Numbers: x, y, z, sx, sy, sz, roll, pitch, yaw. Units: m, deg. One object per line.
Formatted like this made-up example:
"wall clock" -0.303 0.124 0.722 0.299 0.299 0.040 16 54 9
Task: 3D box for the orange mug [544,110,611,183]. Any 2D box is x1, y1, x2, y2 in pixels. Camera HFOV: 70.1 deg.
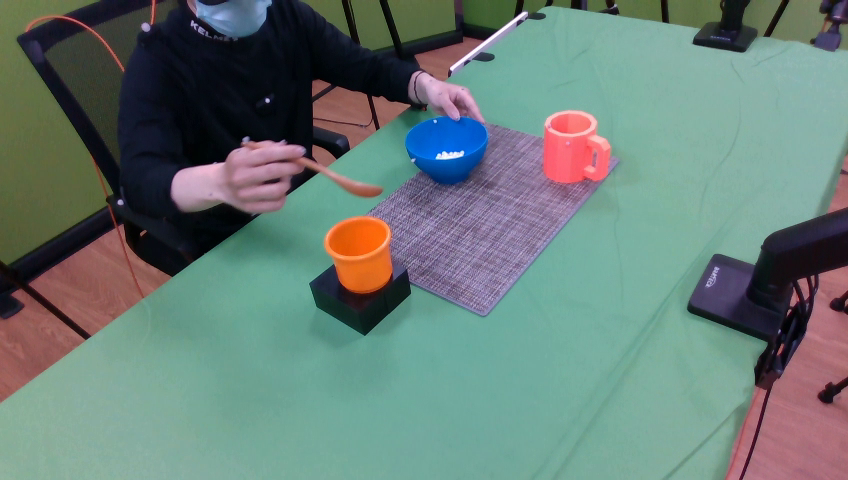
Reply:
"orange mug" 0.266 -0.157 1.049 0.084 0.101 0.125 -33 42 -26

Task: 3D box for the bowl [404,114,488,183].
"bowl" 0.043 -0.156 1.095 0.151 0.077 0.150 -4 41 4

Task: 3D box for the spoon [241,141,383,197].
"spoon" -0.147 -0.095 0.807 0.195 0.041 0.021 23 81 -16
